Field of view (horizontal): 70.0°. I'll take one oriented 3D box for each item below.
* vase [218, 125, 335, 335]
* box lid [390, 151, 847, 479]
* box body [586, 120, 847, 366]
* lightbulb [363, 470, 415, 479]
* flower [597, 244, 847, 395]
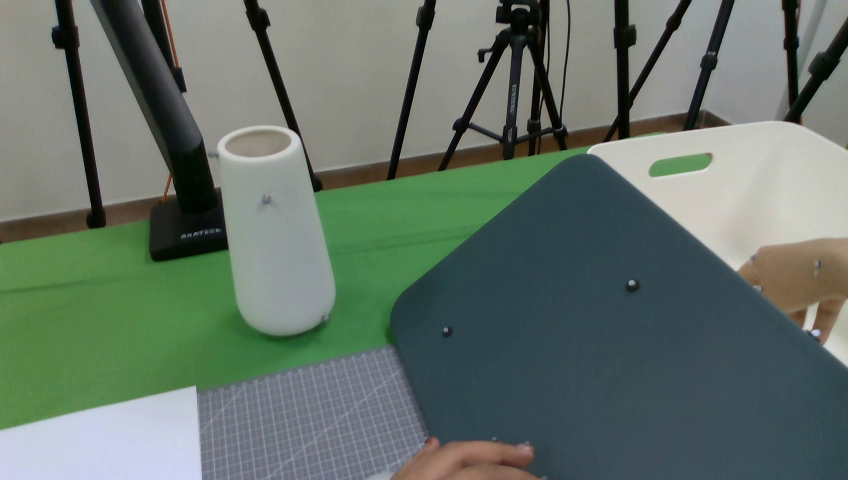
[{"bbox_3d":[-0.141,-0.005,0.578,0.098,0.201,0.097,-1,35,1],"label":"vase"},{"bbox_3d":[0.114,0.092,0.467,0.263,0.015,0.367,-40,38,9],"label":"box lid"},{"bbox_3d":[0.323,0.049,0.537,0.255,0.162,0.360,-10,37,-13],"label":"box body"},{"bbox_3d":[-0.019,0.208,0.403,0.059,0.060,0.106,-8,51,-11],"label":"lightbulb"},{"bbox_3d":[0.329,0.100,0.584,0.358,0.038,0.044,34,46,31],"label":"flower"}]
